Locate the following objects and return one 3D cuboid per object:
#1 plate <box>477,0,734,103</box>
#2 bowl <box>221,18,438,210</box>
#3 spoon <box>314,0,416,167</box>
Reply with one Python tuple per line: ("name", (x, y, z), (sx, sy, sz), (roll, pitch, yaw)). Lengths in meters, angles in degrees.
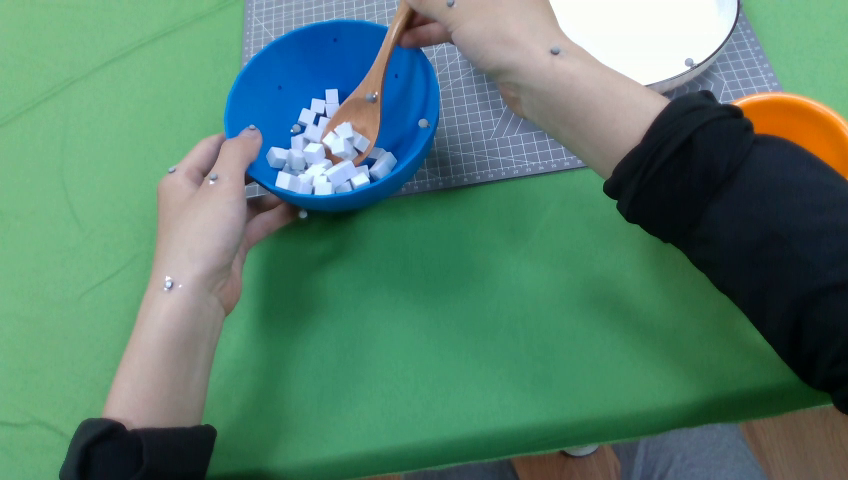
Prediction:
("plate", (0.149, -0.196, 0.519), (0.209, 0.038, 0.207), (-3, 63, 6))
("bowl", (-0.062, -0.079, 0.448), (0.151, 0.077, 0.150), (-2, 66, 5))
("spoon", (-0.023, -0.137, 0.412), (0.041, 0.022, 0.194), (34, 108, 17))
